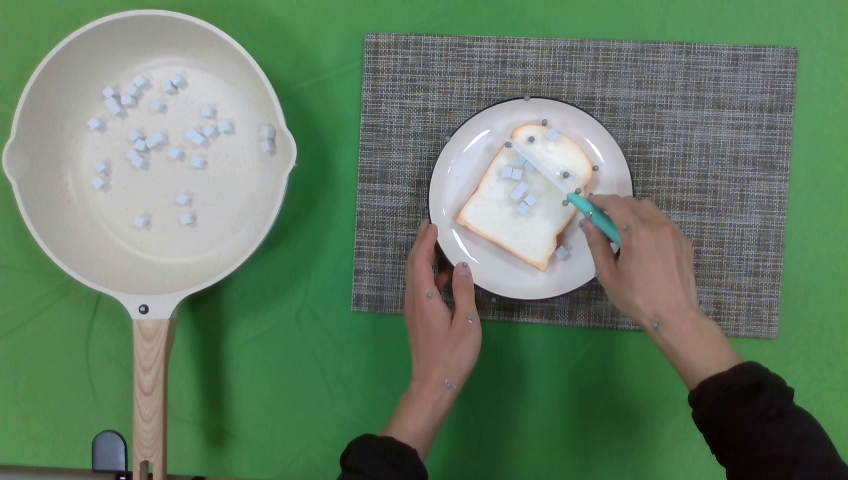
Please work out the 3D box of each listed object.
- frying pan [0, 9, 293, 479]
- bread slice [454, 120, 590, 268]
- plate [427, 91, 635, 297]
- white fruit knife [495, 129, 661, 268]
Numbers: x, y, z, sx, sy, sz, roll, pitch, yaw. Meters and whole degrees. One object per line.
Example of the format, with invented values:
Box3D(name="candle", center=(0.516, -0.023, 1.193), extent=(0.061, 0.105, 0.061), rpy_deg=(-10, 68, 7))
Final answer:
Box3D(name="frying pan", center=(-0.279, 0.018, 0.625), extent=(0.306, 0.103, 0.486), rpy_deg=(-1, 83, 5))
Box3D(name="bread slice", center=(0.105, -0.054, 0.628), extent=(0.107, 0.018, 0.134), rpy_deg=(27, 95, 2))
Box3D(name="plate", center=(0.108, -0.046, 0.627), extent=(0.207, 0.039, 0.207), rpy_deg=(0, 92, 4))
Box3D(name="white fruit knife", center=(0.146, -0.043, 0.593), extent=(0.206, 0.027, 0.016), rpy_deg=(42, 116, 13))
